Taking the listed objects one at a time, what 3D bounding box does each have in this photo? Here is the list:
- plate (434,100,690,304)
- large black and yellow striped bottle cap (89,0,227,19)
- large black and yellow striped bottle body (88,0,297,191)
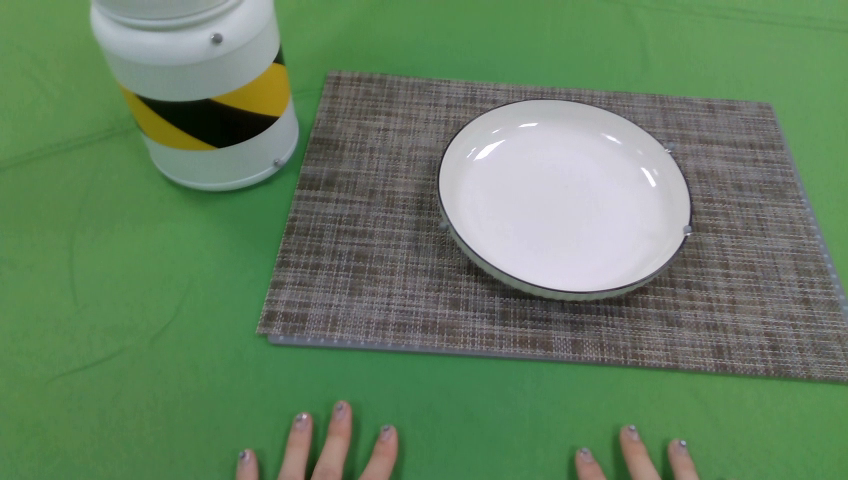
[{"bbox_3d":[0.112,-0.033,0.507,0.208,0.039,0.205,1,55,-1],"label":"plate"},{"bbox_3d":[-0.179,-0.193,0.419,0.115,0.019,0.114,2,53,-2],"label":"large black and yellow striped bottle cap"},{"bbox_3d":[-0.180,-0.143,0.487,0.131,0.185,0.129,1,54,-1],"label":"large black and yellow striped bottle body"}]
